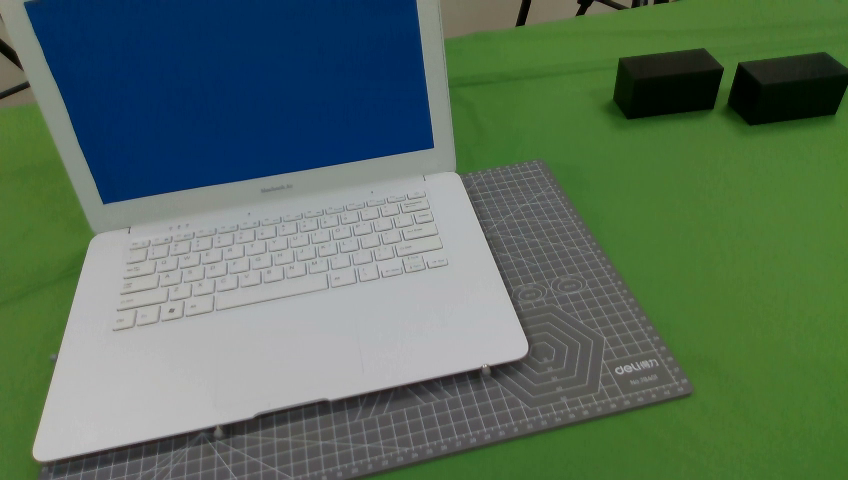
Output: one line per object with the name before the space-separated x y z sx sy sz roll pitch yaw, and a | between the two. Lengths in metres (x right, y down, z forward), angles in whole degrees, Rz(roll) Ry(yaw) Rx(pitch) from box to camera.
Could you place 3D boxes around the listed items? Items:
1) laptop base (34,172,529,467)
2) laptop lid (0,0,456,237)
laptop base | -0.115 0.047 0.509 0.355 0.023 0.233 -11 46 -6
laptop lid | -0.153 -0.133 0.539 0.357 0.243 0.013 -12 28 -6
